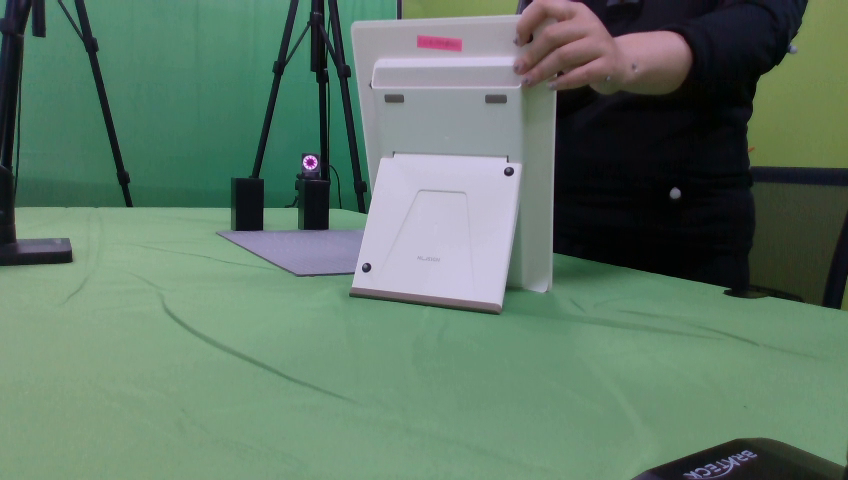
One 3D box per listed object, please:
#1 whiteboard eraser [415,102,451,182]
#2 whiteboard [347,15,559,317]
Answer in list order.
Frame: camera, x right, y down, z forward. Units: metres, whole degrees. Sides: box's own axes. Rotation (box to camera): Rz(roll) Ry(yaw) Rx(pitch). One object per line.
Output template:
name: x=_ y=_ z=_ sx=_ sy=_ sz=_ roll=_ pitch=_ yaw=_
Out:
whiteboard eraser: x=0.011 y=-0.115 z=0.714 sx=0.041 sy=0.101 sz=0.019 roll=4 pitch=40 yaw=8
whiteboard: x=0.012 y=-0.056 z=0.608 sx=0.216 sy=0.305 sz=0.144 roll=5 pitch=27 yaw=20
